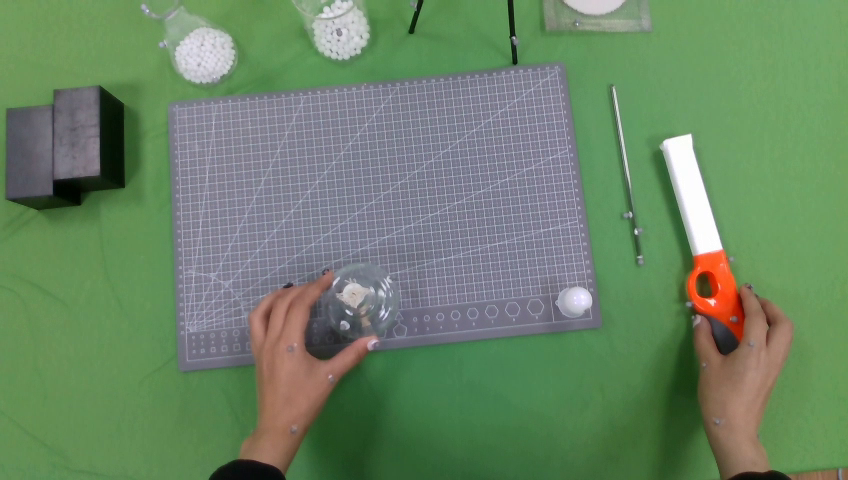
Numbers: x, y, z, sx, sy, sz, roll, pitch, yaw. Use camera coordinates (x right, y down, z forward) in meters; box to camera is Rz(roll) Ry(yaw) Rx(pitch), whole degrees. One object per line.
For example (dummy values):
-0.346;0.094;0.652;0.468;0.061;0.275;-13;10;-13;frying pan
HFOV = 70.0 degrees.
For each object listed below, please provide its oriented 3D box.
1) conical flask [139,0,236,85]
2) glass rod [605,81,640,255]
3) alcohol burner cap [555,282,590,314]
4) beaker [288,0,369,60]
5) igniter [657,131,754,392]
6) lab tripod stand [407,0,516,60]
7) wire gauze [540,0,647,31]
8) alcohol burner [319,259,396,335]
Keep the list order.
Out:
-0.253;-0.221;0.638;0.075;0.122;0.075;0;81;1;conical flask
0.218;-0.082;0.666;0.008;0.008;0.199;-7;81;0;glass rod
0.156;0.058;0.626;0.034;0.048;0.033;0;80;1;alcohol burner cap
-0.097;-0.248;0.651;0.084;0.100;0.074;-33;82;-5;beaker
0.297;0.020;0.640;0.057;0.025;0.275;-12;82;1;igniter
0.050;-0.267;0.634;0.148;0.132;0.148;0;83;2;lab tripod stand
0.193;-0.300;0.700;0.125;0.011;0.121;-1;82;-1;wire gauze
-0.067;0.054;0.595;0.078;0.119;0.077;0;79;0;alcohol burner
